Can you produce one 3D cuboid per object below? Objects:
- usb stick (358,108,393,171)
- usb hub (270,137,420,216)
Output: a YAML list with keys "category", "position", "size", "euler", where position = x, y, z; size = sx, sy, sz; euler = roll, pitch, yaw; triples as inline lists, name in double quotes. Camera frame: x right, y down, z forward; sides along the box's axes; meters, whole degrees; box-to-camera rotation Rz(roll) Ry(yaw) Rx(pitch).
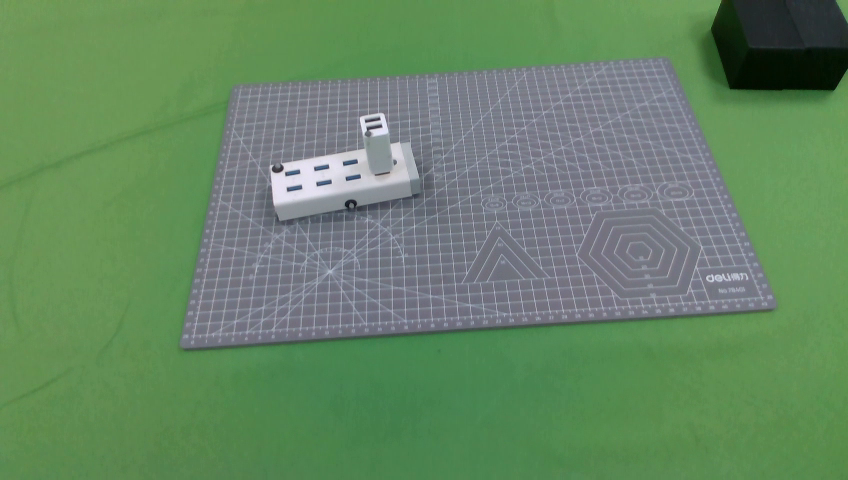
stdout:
- category: "usb stick"
  position: [-0.039, -0.078, 0.504]
  size: [0.021, 0.060, 0.027]
  euler: [-13, 52, -6]
- category: "usb hub"
  position: [-0.069, -0.057, 0.528]
  size: [0.125, 0.025, 0.049]
  euler: [-11, 55, -5]
